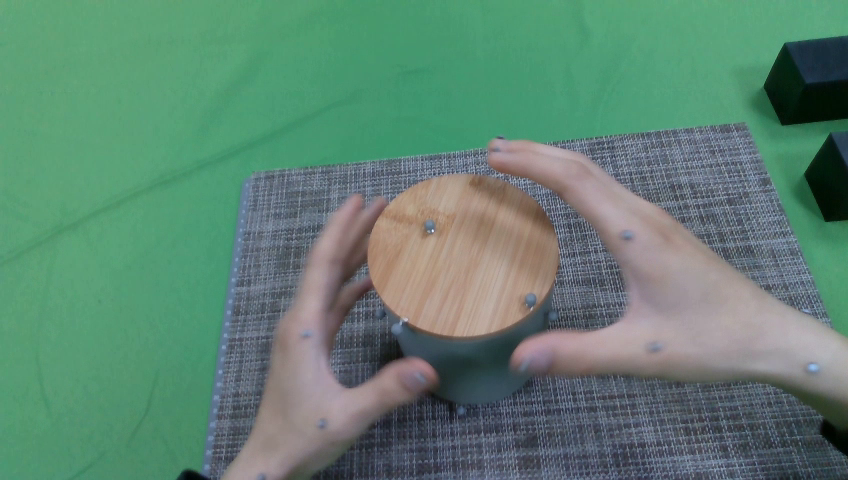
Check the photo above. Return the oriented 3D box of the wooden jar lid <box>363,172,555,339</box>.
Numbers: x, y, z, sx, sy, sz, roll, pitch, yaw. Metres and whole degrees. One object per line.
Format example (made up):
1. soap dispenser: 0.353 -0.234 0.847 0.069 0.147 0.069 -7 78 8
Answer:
1. wooden jar lid: 0.020 0.008 0.348 0.108 0.021 0.107 -1 60 3

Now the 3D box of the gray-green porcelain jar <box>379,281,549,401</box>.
1. gray-green porcelain jar: 0.027 0.042 0.402 0.106 0.127 0.105 -3 57 5
